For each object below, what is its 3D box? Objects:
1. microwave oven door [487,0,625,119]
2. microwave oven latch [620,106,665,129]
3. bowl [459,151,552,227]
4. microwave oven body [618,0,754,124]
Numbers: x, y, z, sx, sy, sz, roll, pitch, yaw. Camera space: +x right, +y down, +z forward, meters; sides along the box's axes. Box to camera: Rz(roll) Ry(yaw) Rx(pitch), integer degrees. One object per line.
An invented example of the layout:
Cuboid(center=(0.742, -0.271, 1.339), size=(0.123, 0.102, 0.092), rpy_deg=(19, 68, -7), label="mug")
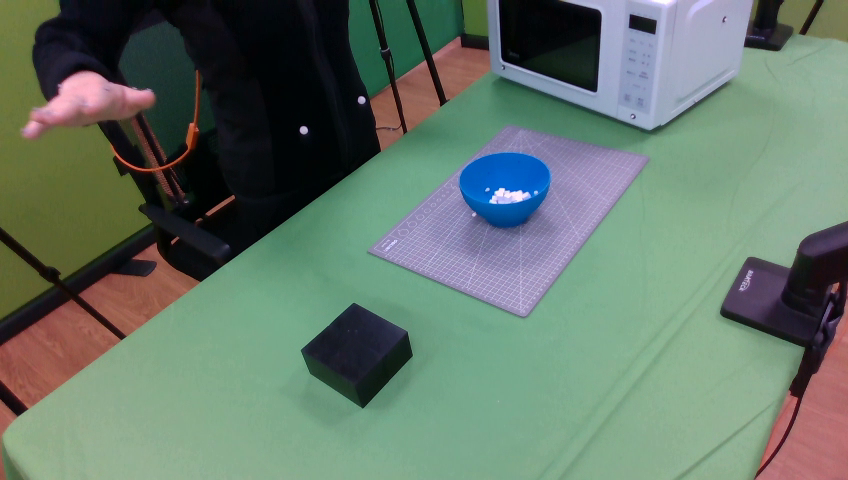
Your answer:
Cuboid(center=(0.262, -0.409, 1.222), size=(0.039, 0.245, 0.352), rpy_deg=(-33, 45, -25), label="microwave oven door")
Cuboid(center=(0.412, -0.237, 1.146), size=(0.030, 0.029, 0.078), rpy_deg=(-32, 44, -23), label="microwave oven latch")
Cuboid(center=(0.136, -0.074, 1.000), size=(0.151, 0.077, 0.150), rpy_deg=(-5, 40, 5), label="bowl")
Cuboid(center=(0.402, -0.458, 1.259), size=(0.327, 0.261, 0.437), rpy_deg=(-33, 45, -24), label="microwave oven body")
